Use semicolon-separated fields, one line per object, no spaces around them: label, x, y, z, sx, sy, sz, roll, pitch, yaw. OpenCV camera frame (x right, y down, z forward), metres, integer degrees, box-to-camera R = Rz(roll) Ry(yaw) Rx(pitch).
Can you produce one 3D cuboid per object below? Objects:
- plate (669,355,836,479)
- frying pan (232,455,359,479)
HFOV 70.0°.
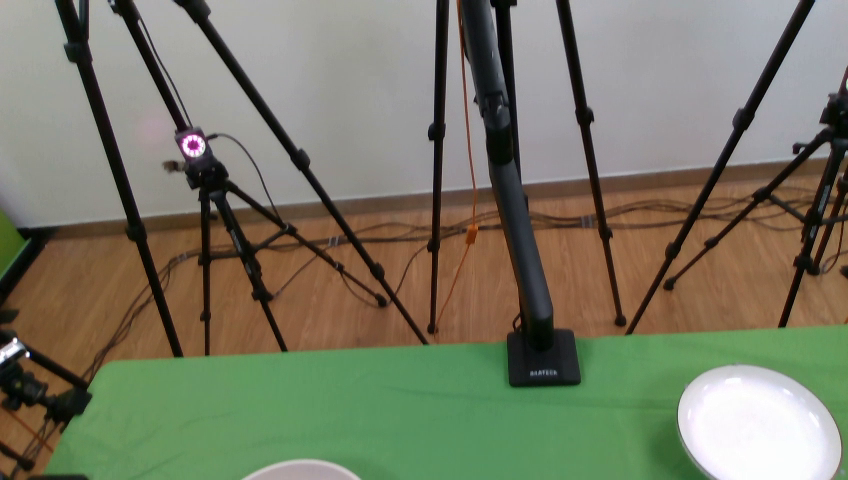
plate;0.453;0.259;0.850;0.207;0.039;0.205;-6;45;6
frying pan;-0.201;0.506;0.751;0.306;0.103;0.483;-5;34;8
